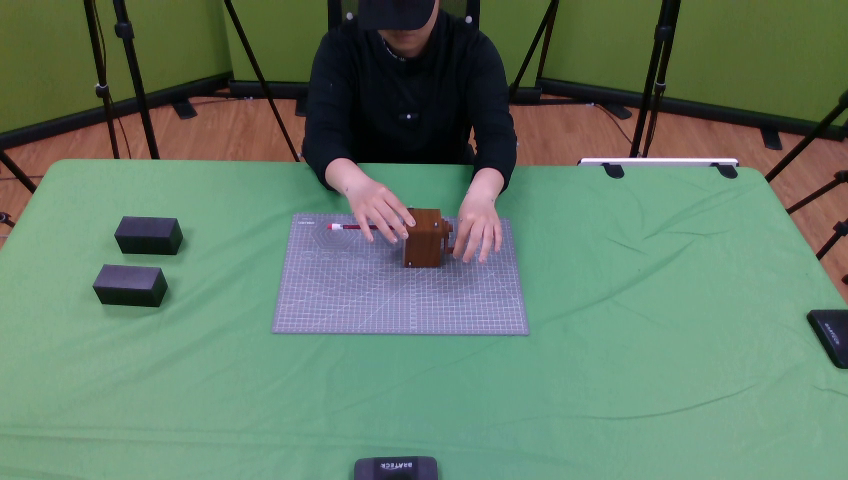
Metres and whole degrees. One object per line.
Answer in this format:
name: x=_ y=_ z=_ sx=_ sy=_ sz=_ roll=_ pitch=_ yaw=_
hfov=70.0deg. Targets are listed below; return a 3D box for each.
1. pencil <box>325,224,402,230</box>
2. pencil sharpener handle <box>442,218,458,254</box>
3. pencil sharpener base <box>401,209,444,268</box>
pencil: x=-0.083 y=-0.023 z=1.110 sx=0.194 sy=0.012 sz=0.012 roll=1 pitch=45 yaw=-5
pencil sharpener handle: x=0.048 y=-0.007 z=1.125 sx=0.031 sy=0.068 sz=0.036 roll=-1 pitch=16 yaw=-5
pencil sharpener base: x=-0.004 y=-0.002 z=1.136 sx=0.077 sy=0.107 sz=0.061 roll=-1 pitch=46 yaw=-5
